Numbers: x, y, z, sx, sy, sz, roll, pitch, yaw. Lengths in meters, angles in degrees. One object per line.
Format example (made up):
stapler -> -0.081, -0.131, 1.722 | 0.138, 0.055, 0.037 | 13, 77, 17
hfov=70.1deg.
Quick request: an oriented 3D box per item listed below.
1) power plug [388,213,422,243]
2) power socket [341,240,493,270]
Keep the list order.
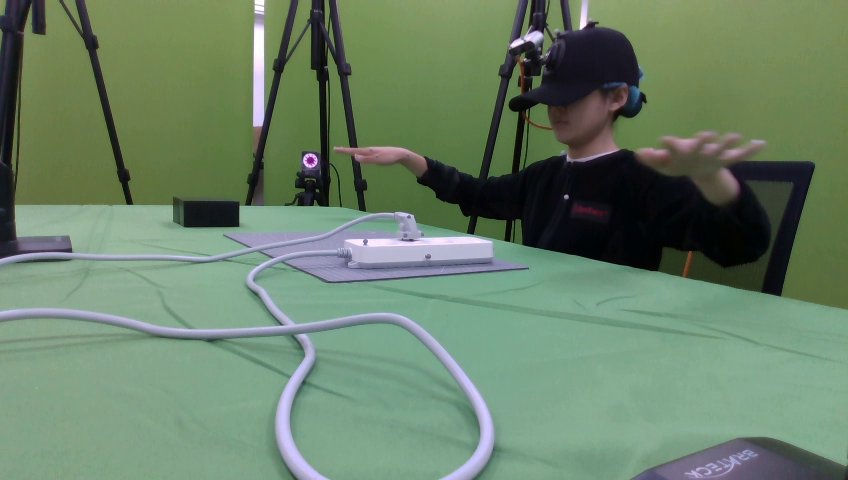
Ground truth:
power plug -> -0.026, -0.010, 0.848 | 0.035, 0.052, 0.072 | 2, 9, -17
power socket -> -0.006, 0.018, 0.831 | 0.228, 0.032, 0.072 | -1, 7, -29
